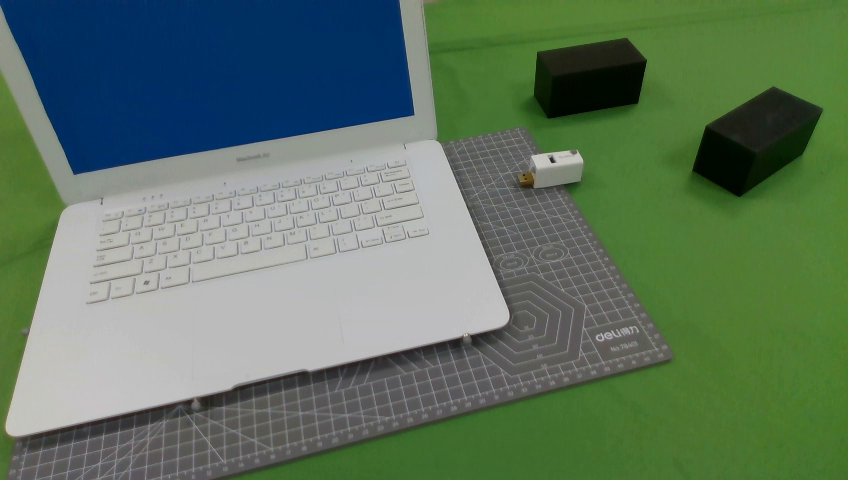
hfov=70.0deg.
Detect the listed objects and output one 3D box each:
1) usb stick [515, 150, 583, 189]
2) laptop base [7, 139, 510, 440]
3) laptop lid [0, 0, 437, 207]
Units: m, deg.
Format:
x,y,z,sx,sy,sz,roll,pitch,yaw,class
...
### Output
x,y,z,sx,sy,sz,roll,pitch,yaw,class
0.113,-0.064,0.555,0.059,0.027,0.021,-11,45,-2,usb stick
-0.131,0.021,0.500,0.355,0.023,0.233,-12,49,-7,laptop base
-0.171,-0.160,0.521,0.357,0.244,0.013,-13,31,-6,laptop lid
